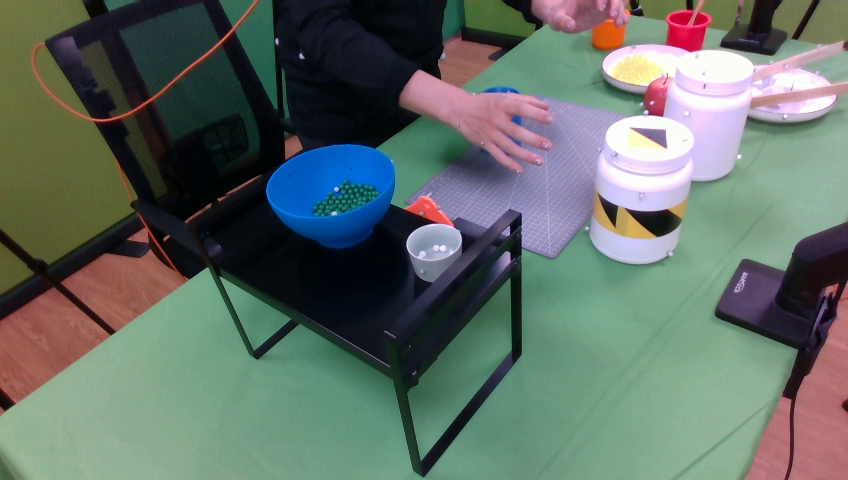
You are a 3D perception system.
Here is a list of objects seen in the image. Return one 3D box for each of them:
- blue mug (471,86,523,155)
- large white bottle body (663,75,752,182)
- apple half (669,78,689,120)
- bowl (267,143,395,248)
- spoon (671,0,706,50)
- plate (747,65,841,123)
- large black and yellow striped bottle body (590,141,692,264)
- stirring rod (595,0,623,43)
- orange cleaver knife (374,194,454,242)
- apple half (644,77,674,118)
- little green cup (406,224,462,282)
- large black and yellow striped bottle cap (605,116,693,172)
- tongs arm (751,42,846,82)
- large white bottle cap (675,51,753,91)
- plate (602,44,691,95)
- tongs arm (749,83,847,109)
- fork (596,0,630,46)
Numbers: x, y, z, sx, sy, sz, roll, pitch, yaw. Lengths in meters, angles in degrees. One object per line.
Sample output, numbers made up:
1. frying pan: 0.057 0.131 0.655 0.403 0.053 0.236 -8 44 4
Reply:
1. blue mug: 0.135 -0.235 1.163 0.082 0.106 0.115 -36 48 -29
2. large white bottle body: 0.472 -0.207 1.022 0.130 0.185 0.130 -4 41 4
3. apple half: 0.498 -0.273 1.180 0.032 0.082 0.081 7 42 25
4. bowl: -0.104 -0.043 0.726 0.151 0.077 0.150 -4 41 4
5. spoon: 0.629 -0.520 1.394 0.041 0.022 0.193 30 97 34
6. plate: 0.695 -0.282 1.189 0.207 0.039 0.206 -4 40 4
7. large black and yellow striped bottle body: 0.317 -0.071 0.889 0.131 0.185 0.130 -4 41 4
8. stirring rod: 0.460 -0.556 1.460 0.014 0.006 0.176 30 93 23
9. orange cleaver knife: -0.032 -0.027 0.965 0.210 0.077 0.012 -9 29 51
10. apple half: 0.463 -0.279 1.194 0.053 0.075 0.081 8 46 25
11. little green cup: 0.013 0.015 0.668 0.061 0.039 0.061 -4 40 4
12. large black and yellow striped bottle cap: 0.309 -0.134 0.833 0.115 0.019 0.114 -5 40 5
13. tongs arm: 0.708 -0.331 1.194 0.386 0.026 0.050 -18 45 -16
14. large white bottle cap: 0.463 -0.271 0.967 0.115 0.018 0.114 -4 40 3
15. plate: 0.495 -0.367 1.317 0.209 0.038 0.208 -4 40 4
16. tongs arm: 0.734 -0.280 1.133 0.388 0.028 0.028 -9 47 -5
17. fork: 0.481 -0.556 1.452 0.028 0.019 0.207 40 103 40
